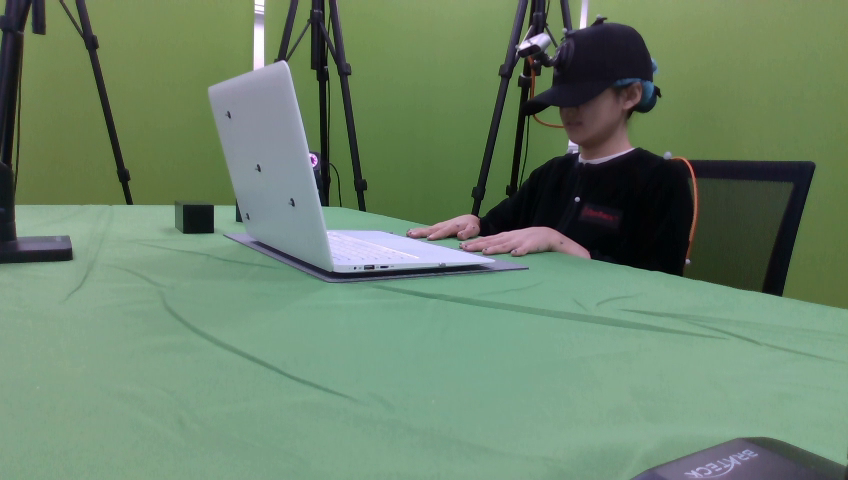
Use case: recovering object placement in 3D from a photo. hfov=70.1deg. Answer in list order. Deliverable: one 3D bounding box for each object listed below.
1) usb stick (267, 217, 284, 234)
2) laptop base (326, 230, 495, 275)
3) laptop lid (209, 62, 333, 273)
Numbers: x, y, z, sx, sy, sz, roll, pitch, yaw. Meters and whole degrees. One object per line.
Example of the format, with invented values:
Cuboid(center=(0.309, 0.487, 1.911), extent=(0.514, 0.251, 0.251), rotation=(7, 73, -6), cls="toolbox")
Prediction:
Cuboid(center=(-0.263, -0.025, 1.079), extent=(0.021, 0.027, 0.059), rotation=(-1, 11, -28), cls="usb stick")
Cuboid(center=(-0.093, 0.016, 0.884), extent=(0.237, 0.023, 0.352), rotation=(3, 6, -32), cls="laptop base")
Cuboid(center=(-0.213, -0.095, 0.790), extent=(0.013, 0.241, 0.355), rotation=(-18, 18, -29), cls="laptop lid")
